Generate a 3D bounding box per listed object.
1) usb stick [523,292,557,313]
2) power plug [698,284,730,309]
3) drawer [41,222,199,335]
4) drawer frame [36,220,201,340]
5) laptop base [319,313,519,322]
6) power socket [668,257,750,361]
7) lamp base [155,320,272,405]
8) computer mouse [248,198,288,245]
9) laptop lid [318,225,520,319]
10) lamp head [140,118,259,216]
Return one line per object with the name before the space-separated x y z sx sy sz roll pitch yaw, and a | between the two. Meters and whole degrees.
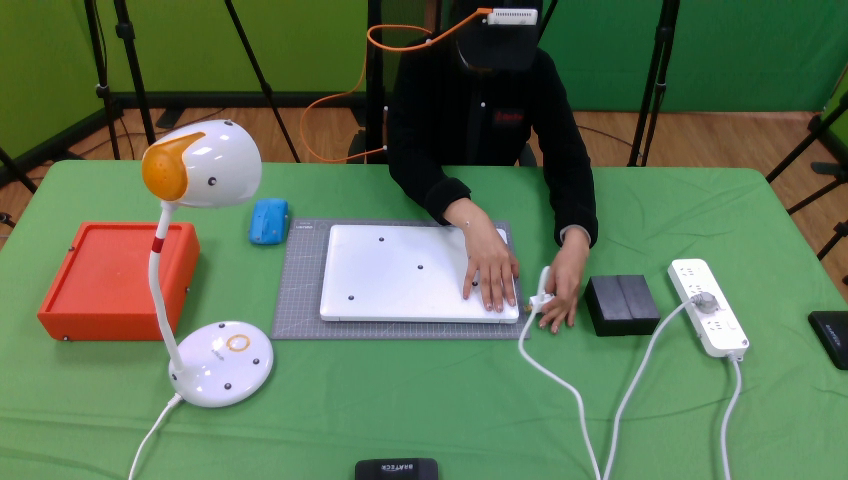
usb stick | 0.206 0.113 1.084 0.059 0.027 0.021 -13 46 -6
power plug | 0.510 0.096 1.059 0.052 0.073 0.035 -22 61 10
drawer | -0.519 0.064 1.058 0.195 0.073 0.210 1 46 -4
drawer frame | -0.517 0.065 1.055 0.202 0.083 0.212 0 47 -5
laptop base | -0.009 0.063 1.138 0.354 0.023 0.234 1 42 -3
power socket | 0.518 0.117 1.109 0.072 0.033 0.225 -3 47 -4
lamp base | -0.330 0.149 0.918 0.160 0.181 0.179 26 52 20
computer mouse | -0.309 -0.041 1.205 0.063 0.041 0.116 3 49 -3
laptop lid | -0.009 0.053 1.131 0.357 0.013 0.240 2 43 -2
lamp head | -0.281 -0.086 0.734 0.112 0.113 0.123 21 25 16
